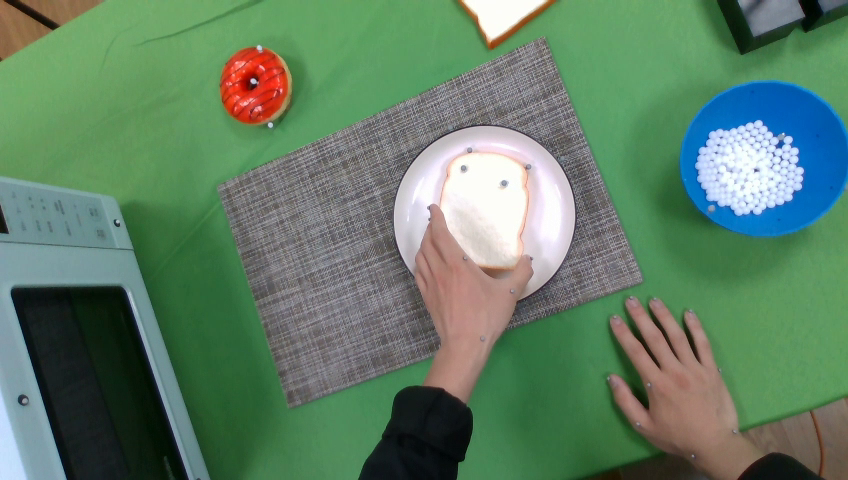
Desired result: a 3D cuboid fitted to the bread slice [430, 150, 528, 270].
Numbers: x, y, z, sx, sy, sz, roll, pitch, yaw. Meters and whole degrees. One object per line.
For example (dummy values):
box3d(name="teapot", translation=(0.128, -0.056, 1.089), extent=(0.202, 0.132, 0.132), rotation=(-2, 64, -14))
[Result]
box3d(name="bread slice", translation=(0.063, -0.035, 0.687), extent=(0.106, 0.018, 0.134), rotation=(2, 87, 13))

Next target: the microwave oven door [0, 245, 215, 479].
box3d(name="microwave oven door", translation=(-0.357, 0.175, 0.663), extent=(0.039, 0.245, 0.354), rotation=(-24, 82, 12))

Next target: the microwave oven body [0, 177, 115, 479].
box3d(name="microwave oven body", translation=(-0.503, 0.194, 0.702), extent=(0.326, 0.261, 0.440), rotation=(-24, 83, 11))

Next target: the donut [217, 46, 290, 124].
box3d(name="donut", translation=(-0.216, -0.195, 0.763), extent=(0.099, 0.048, 0.099), rotation=(-1, 88, 16))

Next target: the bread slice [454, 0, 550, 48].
box3d(name="bread slice", translation=(0.079, -0.307, 0.710), extent=(0.105, 0.019, 0.131), rotation=(-36, 81, 9))

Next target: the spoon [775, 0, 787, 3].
box3d(name="spoon", translation=(0.332, -0.266, 0.556), extent=(0.021, 0.195, 0.041), rotation=(-21, 80, 26))

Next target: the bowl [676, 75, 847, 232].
box3d(name="bowl", translation=(0.328, -0.079, 0.609), extent=(0.151, 0.077, 0.151), rotation=(-1, 87, 14))

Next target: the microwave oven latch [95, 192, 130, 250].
box3d(name="microwave oven latch", translation=(-0.412, -0.021, 0.788), extent=(0.030, 0.029, 0.079), rotation=(-23, 83, 11))

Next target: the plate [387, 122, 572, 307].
box3d(name="plate", translation=(0.062, -0.027, 0.689), extent=(0.207, 0.039, 0.207), rotation=(-1, 88, 13))
